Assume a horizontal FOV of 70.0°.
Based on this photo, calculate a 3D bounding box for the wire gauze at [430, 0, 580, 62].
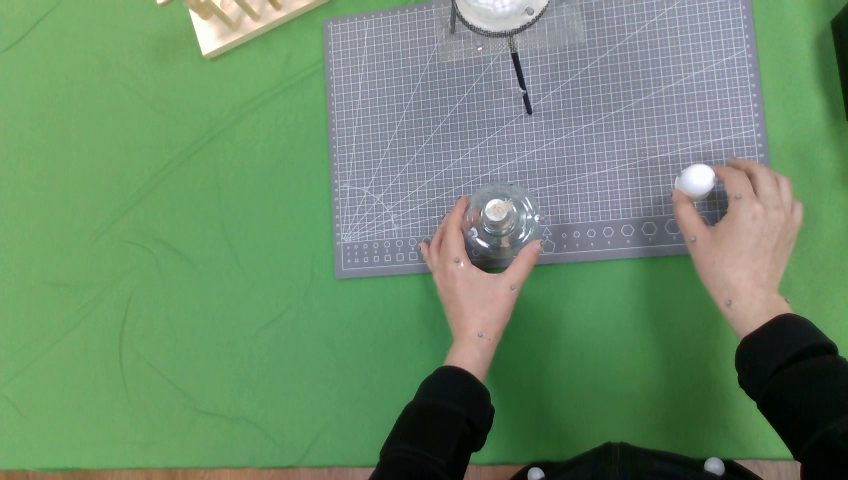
[{"bbox_3d":[0.066,-0.218,0.521,0.125,0.011,0.121,-5,88,10],"label":"wire gauze"}]

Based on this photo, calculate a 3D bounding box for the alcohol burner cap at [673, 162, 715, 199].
[{"bbox_3d":[0.245,-0.056,0.546,0.034,0.048,0.034,-1,86,15],"label":"alcohol burner cap"}]

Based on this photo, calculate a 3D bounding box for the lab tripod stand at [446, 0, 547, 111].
[{"bbox_3d":[0.080,-0.212,0.585,0.148,0.132,0.148,-1,86,11],"label":"lab tripod stand"}]

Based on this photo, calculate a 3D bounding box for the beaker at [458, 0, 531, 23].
[{"bbox_3d":[0.049,-0.223,0.476,0.083,0.100,0.074,9,88,14],"label":"beaker"}]

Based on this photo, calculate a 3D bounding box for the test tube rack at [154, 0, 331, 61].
[{"bbox_3d":[-0.173,-0.295,0.677,0.242,0.085,0.066,-22,81,10],"label":"test tube rack"}]

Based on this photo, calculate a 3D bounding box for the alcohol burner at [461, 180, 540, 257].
[{"bbox_3d":[0.072,-0.023,0.583,0.078,0.119,0.077,-1,84,11],"label":"alcohol burner"}]
